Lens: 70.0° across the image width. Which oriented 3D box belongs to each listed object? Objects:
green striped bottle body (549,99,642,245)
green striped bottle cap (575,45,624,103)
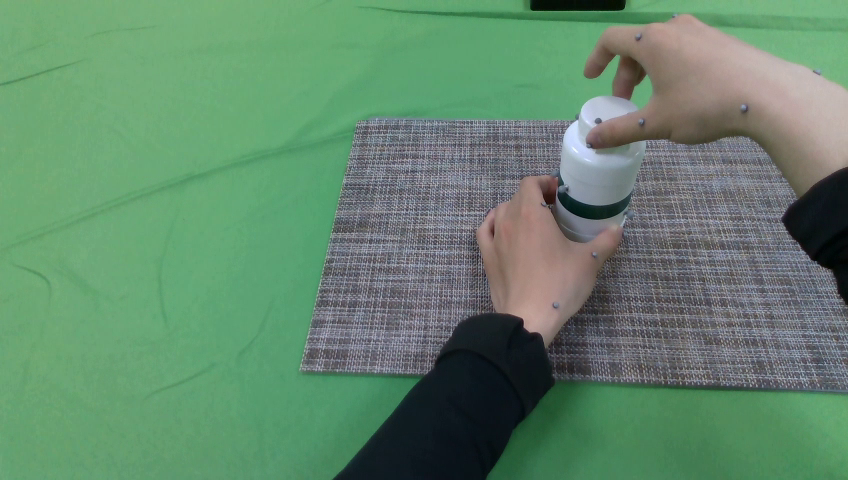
[{"bbox_3d":[0.140,-0.056,0.499,0.063,0.120,0.062,-2,50,3],"label":"green striped bottle body"},{"bbox_3d":[0.139,-0.132,0.480,0.044,0.045,0.020,-41,35,-26],"label":"green striped bottle cap"}]
